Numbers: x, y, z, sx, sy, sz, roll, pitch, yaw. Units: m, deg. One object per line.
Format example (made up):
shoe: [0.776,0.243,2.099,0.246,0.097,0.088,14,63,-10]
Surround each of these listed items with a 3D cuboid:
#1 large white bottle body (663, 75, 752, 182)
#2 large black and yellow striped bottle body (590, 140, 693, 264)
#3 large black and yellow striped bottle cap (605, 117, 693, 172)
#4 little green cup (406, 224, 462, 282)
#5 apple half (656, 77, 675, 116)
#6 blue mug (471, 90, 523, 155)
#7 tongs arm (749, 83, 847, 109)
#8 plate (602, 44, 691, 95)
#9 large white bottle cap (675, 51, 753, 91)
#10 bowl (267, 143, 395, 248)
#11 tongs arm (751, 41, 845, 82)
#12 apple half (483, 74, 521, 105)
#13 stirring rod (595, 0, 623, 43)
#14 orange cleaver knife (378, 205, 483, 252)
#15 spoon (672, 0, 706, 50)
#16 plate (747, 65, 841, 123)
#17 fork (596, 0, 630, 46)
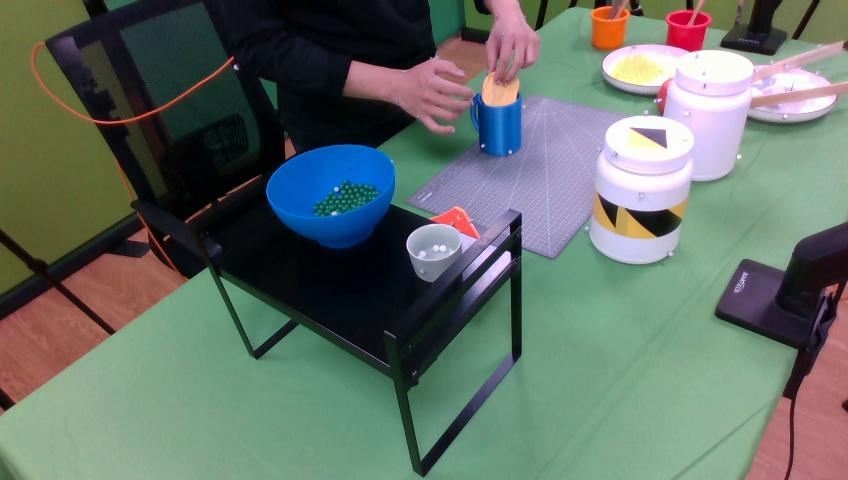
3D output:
large white bottle body: [0.472,-0.207,1.022,0.130,0.185,0.130,-4,41,4]
large black and yellow striped bottle body: [0.317,-0.071,0.889,0.131,0.185,0.130,-4,41,4]
large black and yellow striped bottle cap: [0.309,-0.134,0.833,0.115,0.019,0.114,-5,40,5]
little green cup: [0.012,0.015,0.668,0.061,0.039,0.061,-4,40,4]
apple half: [0.488,-0.281,1.192,0.053,0.075,0.081,24,54,37]
blue mug: [0.136,-0.235,1.163,0.082,0.106,0.115,-36,47,-28]
tongs arm: [0.734,-0.280,1.133,0.388,0.028,0.028,-9,47,-5]
plate: [0.495,-0.367,1.317,0.209,0.038,0.208,-4,40,4]
large white bottle cap: [0.463,-0.271,0.967,0.115,0.018,0.114,-4,40,4]
bowl: [-0.104,-0.043,0.726,0.151,0.077,0.150,-4,41,4]
tongs arm: [0.708,-0.331,1.194,0.386,0.026,0.050,-19,45,-16]
apple half: [0.140,-0.275,1.129,0.081,0.081,0.032,-20,32,-14]
stirring rod: [0.460,-0.556,1.460,0.014,0.006,0.176,30,93,23]
orange cleaver knife: [0.005,-0.010,0.944,0.210,0.077,0.012,-5,23,47]
spoon: [0.629,-0.520,1.394,0.041,0.022,0.193,30,97,34]
plate: [0.695,-0.283,1.189,0.207,0.039,0.206,-4,40,4]
fork: [0.481,-0.556,1.452,0.028,0.019,0.207,40,103,40]
